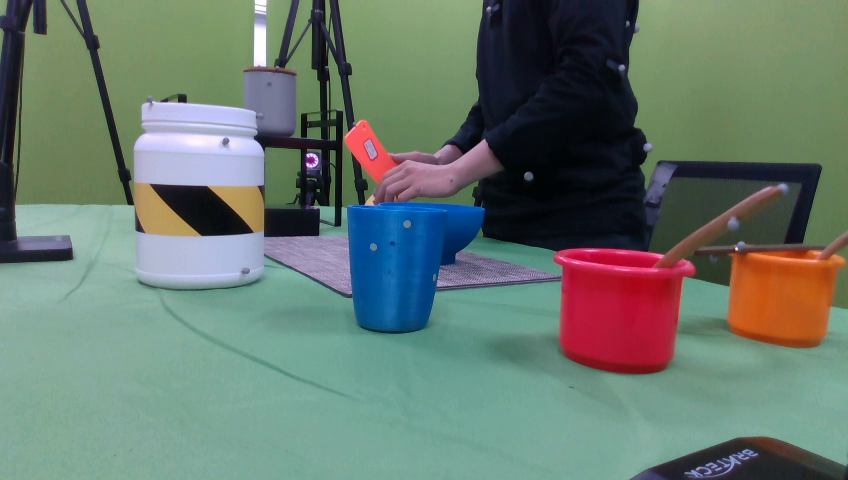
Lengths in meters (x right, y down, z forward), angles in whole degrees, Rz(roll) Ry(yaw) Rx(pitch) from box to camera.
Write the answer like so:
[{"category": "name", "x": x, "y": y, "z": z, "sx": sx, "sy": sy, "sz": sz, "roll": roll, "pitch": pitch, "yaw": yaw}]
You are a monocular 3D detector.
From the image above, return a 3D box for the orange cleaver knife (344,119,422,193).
[{"category": "orange cleaver knife", "x": -0.073, "y": -0.138, "z": 1.119, "sx": 0.012, "sy": 0.077, "sz": 0.212, "roll": -2, "pitch": -34, "yaw": 39}]

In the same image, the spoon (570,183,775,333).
[{"category": "spoon", "x": 0.160, "y": 0.020, "z": 0.413, "sx": 0.042, "sy": 0.021, "sz": 0.193, "roll": 0, "pitch": -36, "yaw": -24}]

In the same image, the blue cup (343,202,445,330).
[{"category": "blue cup", "x": -0.027, "y": 0.021, "z": 0.510, "sx": 0.093, "sy": 0.100, "sz": 0.092, "roll": 3, "pitch": 5, "yaw": 0}]

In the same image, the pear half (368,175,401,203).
[{"category": "pear half", "x": -0.063, "y": -0.061, "z": 1.074, "sx": 0.055, "sy": 0.110, "sz": 0.077, "roll": 8, "pitch": 14, "yaw": 40}]

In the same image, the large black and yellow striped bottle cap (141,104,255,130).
[{"category": "large black and yellow striped bottle cap", "x": -0.241, "y": -0.131, "z": 0.650, "sx": 0.115, "sy": 0.019, "sz": 0.115, "roll": 3, "pitch": 8, "yaw": 0}]

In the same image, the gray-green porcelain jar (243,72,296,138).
[{"category": "gray-green porcelain jar", "x": -0.322, "y": -0.279, "z": 1.263, "sx": 0.106, "sy": 0.126, "sz": 0.106, "roll": 3, "pitch": 8, "yaw": 0}]

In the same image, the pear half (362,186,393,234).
[{"category": "pear half", "x": -0.090, "y": -0.055, "z": 1.100, "sx": 0.031, "sy": 0.088, "sz": 0.071, "roll": 9, "pitch": 14, "yaw": 37}]

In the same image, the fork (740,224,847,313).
[{"category": "fork", "x": 0.323, "y": 0.013, "z": 0.485, "sx": 0.028, "sy": 0.018, "sz": 0.207, "roll": 9, "pitch": -38, "yaw": -5}]

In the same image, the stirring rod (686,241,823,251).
[{"category": "stirring rod", "x": 0.289, "y": 0.005, "z": 0.525, "sx": 0.177, "sy": 0.006, "sz": 0.014, "roll": -1, "pitch": 5, "yaw": -26}]

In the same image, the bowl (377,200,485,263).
[{"category": "bowl", "x": 0.008, "y": -0.012, "z": 0.842, "sx": 0.151, "sy": 0.077, "sz": 0.151, "roll": 3, "pitch": 7, "yaw": 0}]

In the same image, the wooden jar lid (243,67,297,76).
[{"category": "wooden jar lid", "x": -0.319, "y": -0.342, "z": 1.254, "sx": 0.108, "sy": 0.020, "sz": 0.108, "roll": 3, "pitch": 8, "yaw": 0}]

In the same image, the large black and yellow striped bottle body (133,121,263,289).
[{"category": "large black and yellow striped bottle body", "x": -0.243, "y": -0.048, "z": 0.659, "sx": 0.131, "sy": 0.184, "sz": 0.130, "roll": 2, "pitch": 7, "yaw": 0}]
